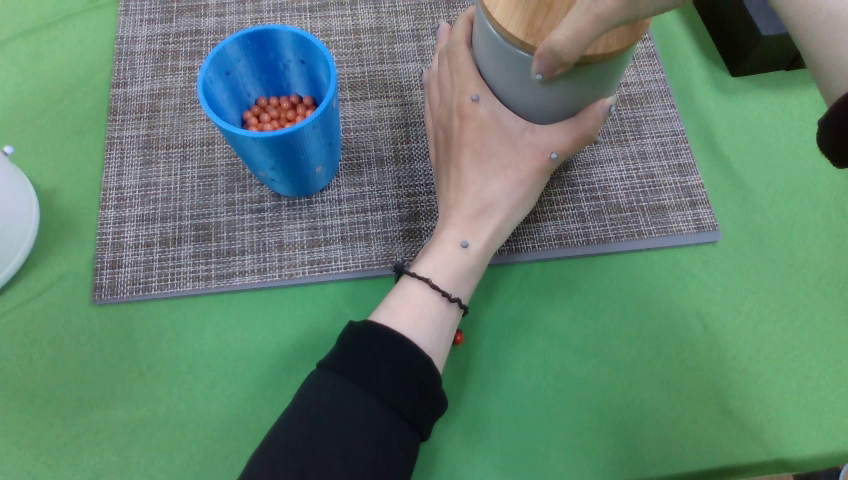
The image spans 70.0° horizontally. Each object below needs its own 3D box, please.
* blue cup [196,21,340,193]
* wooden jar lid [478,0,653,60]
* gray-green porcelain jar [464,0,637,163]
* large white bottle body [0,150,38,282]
[{"bbox_3d":[-0.096,-0.081,0.415,0.092,0.101,0.092,0,67,0],"label":"blue cup"},{"bbox_3d":[0.084,-0.149,0.370,0.108,0.021,0.107,2,64,-4],"label":"wooden jar lid"},{"bbox_3d":[0.083,-0.123,0.426,0.106,0.127,0.105,1,66,-1],"label":"gray-green porcelain jar"},{"bbox_3d":[-0.336,-0.043,0.348,0.131,0.186,0.129,1,66,-2],"label":"large white bottle body"}]
